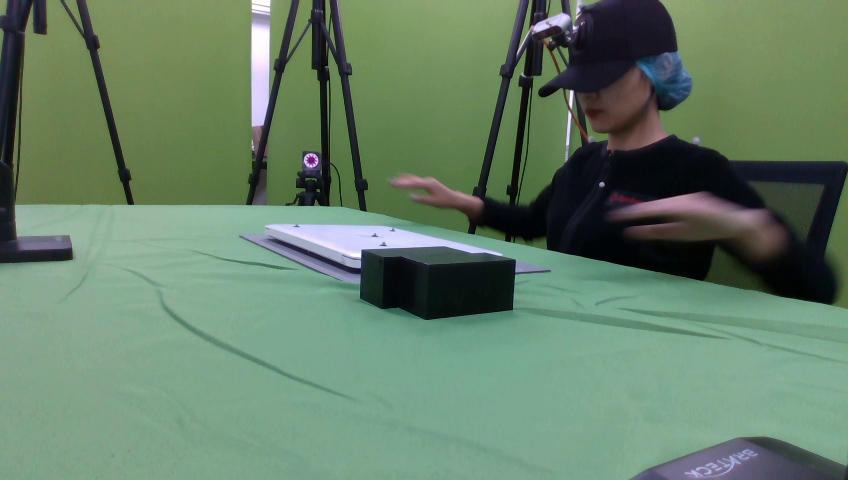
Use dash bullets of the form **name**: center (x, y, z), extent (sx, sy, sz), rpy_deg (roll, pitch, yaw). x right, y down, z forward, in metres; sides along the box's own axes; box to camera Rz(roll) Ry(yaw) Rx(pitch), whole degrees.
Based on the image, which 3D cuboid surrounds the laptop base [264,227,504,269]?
- **laptop base**: center (-0.077, 0.009, 0.914), extent (0.237, 0.023, 0.352), rpy_deg (2, 6, -33)

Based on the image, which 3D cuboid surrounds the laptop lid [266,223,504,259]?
- **laptop lid**: center (-0.074, -0.003, 0.914), extent (0.243, 0.013, 0.355), rpy_deg (1, 7, -31)
